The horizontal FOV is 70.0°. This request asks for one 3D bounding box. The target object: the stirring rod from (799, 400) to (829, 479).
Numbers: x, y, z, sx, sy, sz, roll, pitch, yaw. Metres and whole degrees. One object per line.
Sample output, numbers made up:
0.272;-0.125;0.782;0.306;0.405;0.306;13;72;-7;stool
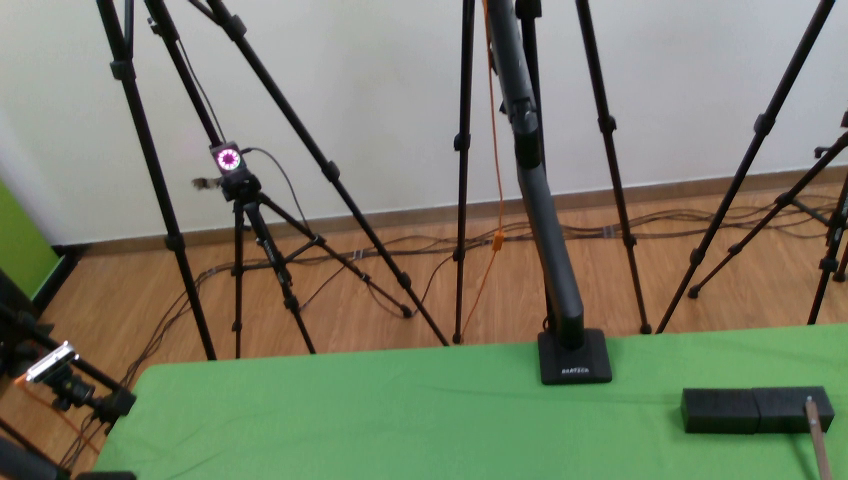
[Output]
0.552;0.311;0.845;0.014;0.006;0.174;-1;60;10;stirring rod
